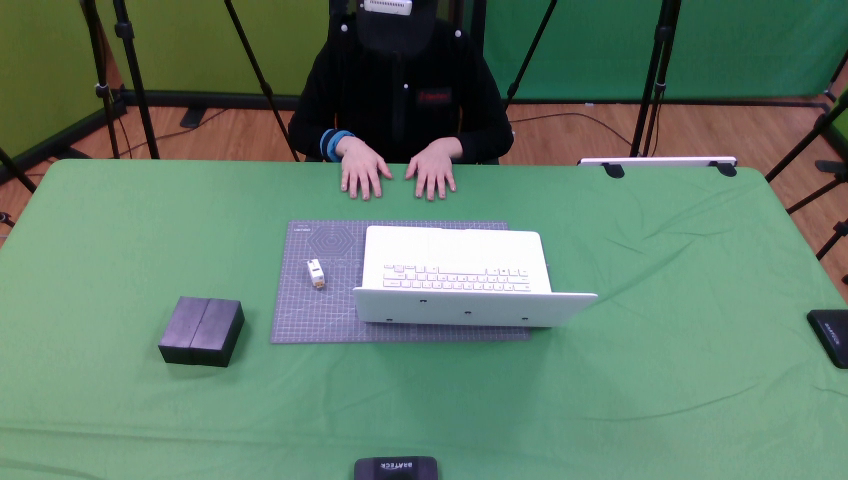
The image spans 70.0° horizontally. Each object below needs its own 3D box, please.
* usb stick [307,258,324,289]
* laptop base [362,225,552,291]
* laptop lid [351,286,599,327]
[{"bbox_3d":[-0.198,0.064,1.114,0.021,0.027,0.059,-13,51,-18],"label":"usb stick"},{"bbox_3d":[0.061,0.063,1.145,0.354,0.023,0.234,2,43,-3],"label":"laptop base"},{"bbox_3d":[0.068,0.109,0.953,0.357,0.242,0.013,2,71,-4],"label":"laptop lid"}]
